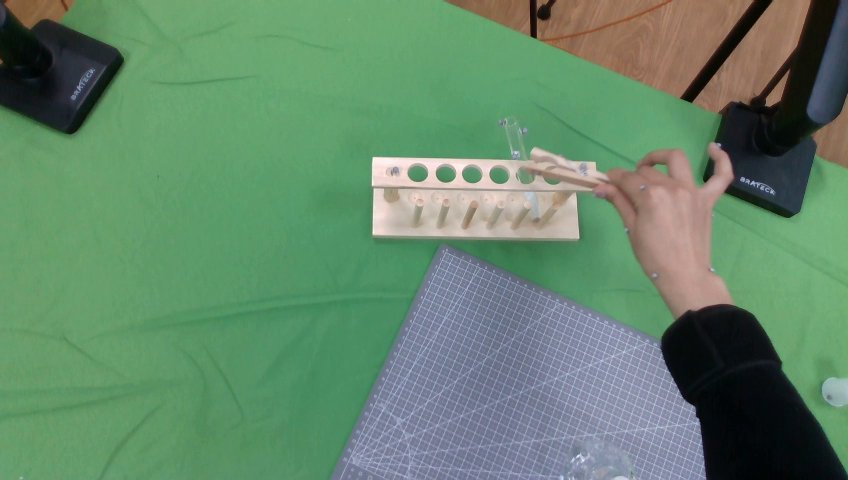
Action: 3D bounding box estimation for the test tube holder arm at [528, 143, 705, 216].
[{"bbox_3d":[0.187,-0.061,0.599,0.177,0.015,0.013,22,83,18],"label":"test tube holder arm"}]

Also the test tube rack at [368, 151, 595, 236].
[{"bbox_3d":[0.060,-0.049,0.680,0.243,0.085,0.066,1,74,-4],"label":"test tube rack"}]

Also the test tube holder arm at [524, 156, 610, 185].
[{"bbox_3d":[0.145,-0.070,0.612,0.087,0.015,0.010,14,80,17],"label":"test tube holder arm"}]

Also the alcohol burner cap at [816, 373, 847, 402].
[{"bbox_3d":[0.467,0.163,0.675,0.034,0.048,0.033,1,73,-3],"label":"alcohol burner cap"}]

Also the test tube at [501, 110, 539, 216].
[{"bbox_3d":[0.105,-0.077,0.647,0.017,0.152,0.017,-11,49,13],"label":"test tube"}]

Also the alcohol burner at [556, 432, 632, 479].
[{"bbox_3d":[0.172,0.231,0.596,0.078,0.119,0.077,1,76,-4],"label":"alcohol burner"}]
